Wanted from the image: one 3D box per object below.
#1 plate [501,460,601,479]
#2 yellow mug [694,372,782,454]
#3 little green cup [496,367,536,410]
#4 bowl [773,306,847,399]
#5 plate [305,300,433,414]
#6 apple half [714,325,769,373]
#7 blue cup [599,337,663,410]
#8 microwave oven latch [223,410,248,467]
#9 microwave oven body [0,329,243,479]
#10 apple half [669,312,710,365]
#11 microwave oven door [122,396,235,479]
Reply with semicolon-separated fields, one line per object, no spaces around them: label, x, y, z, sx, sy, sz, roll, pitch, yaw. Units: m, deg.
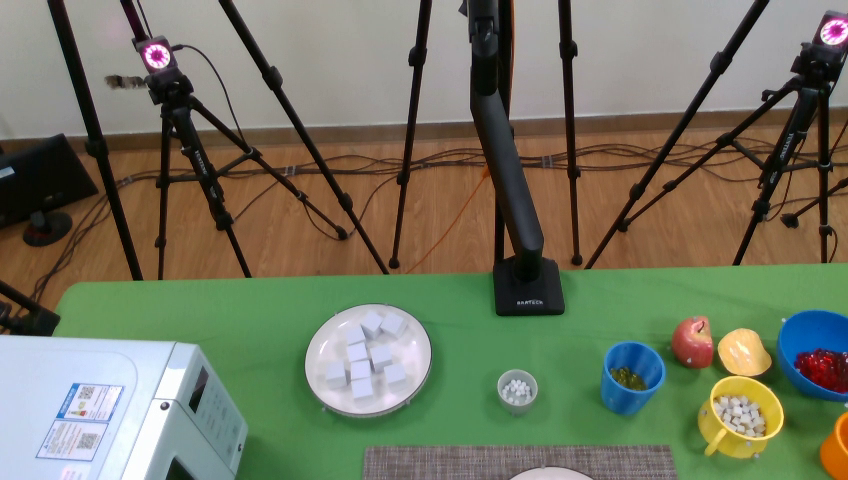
plate;0.172;0.397;0.792;0.209;0.038;0.207;-2;49;3
yellow mug;0.445;0.260;0.879;0.131;0.064;0.099;-35;56;-22
little green cup;0.142;0.233;0.942;0.061;0.039;0.061;-2;48;3
bowl;0.606;0.184;0.927;0.151;0.077;0.150;-2;50;3
plate;-0.088;0.193;0.993;0.207;0.039;0.205;-2;49;2
apple half;0.503;0.179;0.969;0.081;0.033;0.080;-5;62;9
blue cup;0.303;0.209;0.911;0.092;0.101;0.091;-2;51;3
microwave oven latch;-0.284;0.292;0.895;0.030;0.030;0.078;3;50;6
microwave oven body;-0.450;0.358;0.719;0.326;0.262;0.437;2;50;5
apple half;0.419;0.158;0.966;0.053;0.075;0.080;0;53;10
microwave oven door;-0.309;0.389;0.676;0.039;0.246;0.352;1;49;5
